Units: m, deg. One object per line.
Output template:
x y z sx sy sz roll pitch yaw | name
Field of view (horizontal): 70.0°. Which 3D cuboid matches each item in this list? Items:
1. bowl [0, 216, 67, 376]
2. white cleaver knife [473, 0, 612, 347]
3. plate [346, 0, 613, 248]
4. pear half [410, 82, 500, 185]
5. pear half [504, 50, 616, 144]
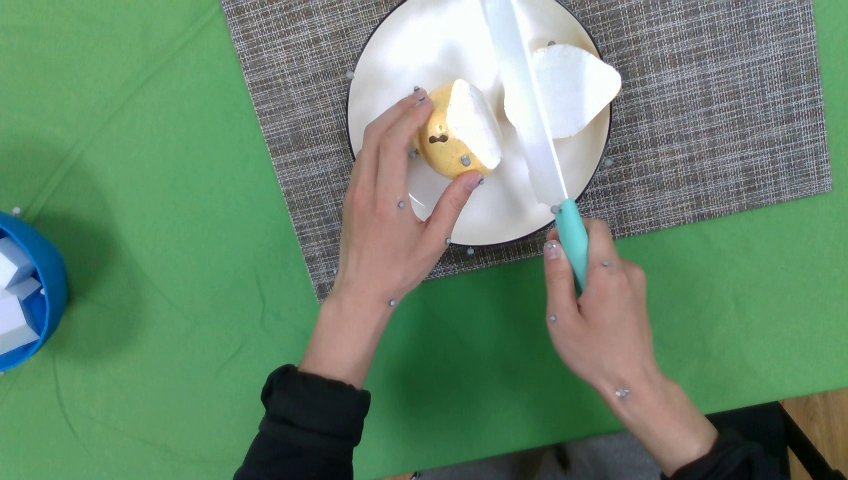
-0.386 0.040 0.549 0.151 0.076 0.152 1 104 5 | bowl
0.091 -0.044 0.450 0.021 0.065 0.288 -23 111 -6 | white cleaver knife
0.043 -0.098 0.488 0.207 0.039 0.208 1 105 6 | plate
0.014 -0.074 0.451 0.056 0.110 0.076 -27 91 26 | pear half
0.106 -0.111 0.473 0.087 0.031 0.070 -3 102 24 | pear half
